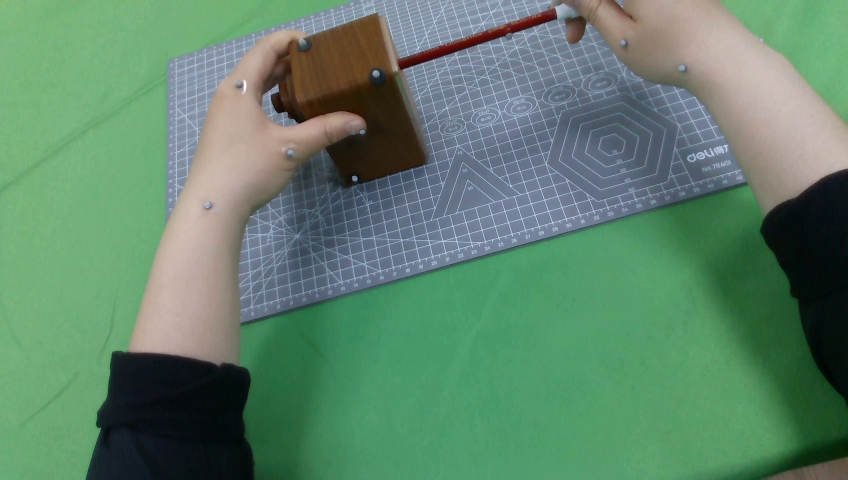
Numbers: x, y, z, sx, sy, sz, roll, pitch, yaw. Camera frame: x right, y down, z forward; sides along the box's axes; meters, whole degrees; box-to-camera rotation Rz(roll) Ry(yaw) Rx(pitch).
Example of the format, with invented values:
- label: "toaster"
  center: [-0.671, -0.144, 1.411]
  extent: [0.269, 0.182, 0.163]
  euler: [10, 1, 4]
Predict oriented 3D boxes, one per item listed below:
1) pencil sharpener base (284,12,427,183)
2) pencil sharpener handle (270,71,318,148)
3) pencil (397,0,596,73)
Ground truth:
- label: "pencil sharpener base"
  center: [-0.048, -0.099, 0.448]
  extent: [0.076, 0.108, 0.061]
  euler: [-17, 61, 5]
- label: "pencil sharpener handle"
  center: [-0.100, -0.090, 0.442]
  extent: [0.030, 0.068, 0.035]
  euler: [-17, 64, 5]
- label: "pencil"
  center: [0.024, -0.133, 0.416]
  extent: [0.194, 0.012, 0.012]
  euler: [-18, 61, 5]
